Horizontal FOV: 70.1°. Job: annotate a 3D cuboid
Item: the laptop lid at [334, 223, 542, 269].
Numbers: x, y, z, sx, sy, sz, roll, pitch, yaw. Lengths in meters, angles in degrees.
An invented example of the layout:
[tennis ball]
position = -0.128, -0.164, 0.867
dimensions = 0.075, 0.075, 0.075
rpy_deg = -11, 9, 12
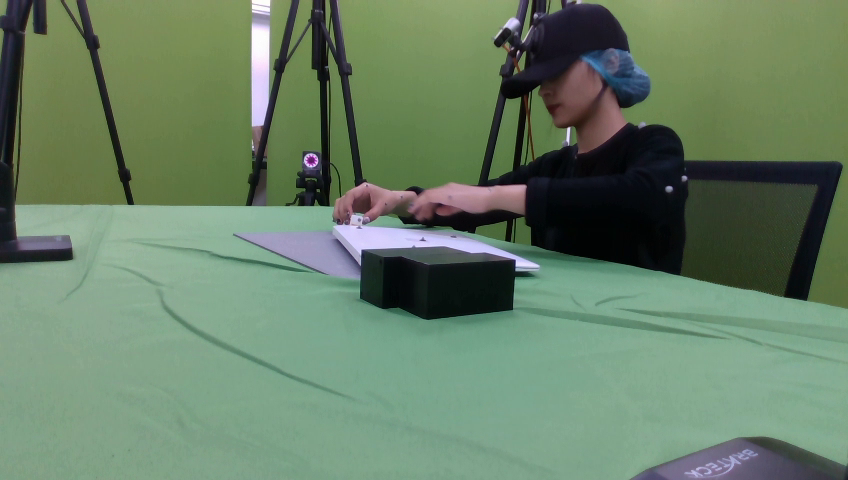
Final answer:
[laptop lid]
position = -0.001, 0.003, 0.903
dimensions = 0.242, 0.013, 0.355
rpy_deg = 4, 7, -14

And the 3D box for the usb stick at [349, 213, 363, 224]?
[usb stick]
position = -0.123, -0.033, 1.087
dimensions = 0.021, 0.027, 0.059
rpy_deg = 11, 7, -9

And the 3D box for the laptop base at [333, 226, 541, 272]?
[laptop base]
position = -0.004, 0.014, 0.903
dimensions = 0.236, 0.023, 0.353
rpy_deg = 5, 6, -15
